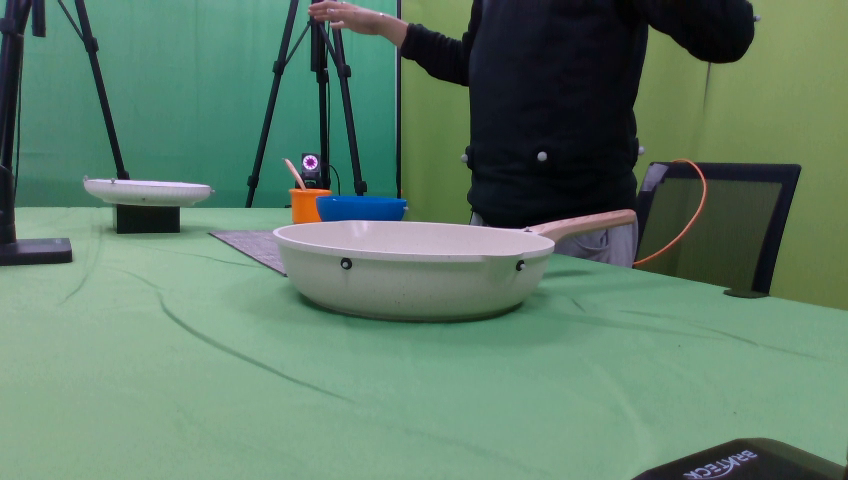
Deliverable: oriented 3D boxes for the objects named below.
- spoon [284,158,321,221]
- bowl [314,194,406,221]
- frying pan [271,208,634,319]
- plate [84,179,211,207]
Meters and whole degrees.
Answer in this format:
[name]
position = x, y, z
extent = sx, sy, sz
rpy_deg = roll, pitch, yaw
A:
[spoon]
position = -0.269, -0.113, 1.336
extent = 0.042, 0.193, 0.021
rpy_deg = -4, -35, -43
[bowl]
position = -0.105, -0.032, 0.991
extent = 0.151, 0.077, 0.151
rpy_deg = 3, 7, 0
[frying pan]
position = 0.076, 0.003, 0.695
extent = 0.490, 0.102, 0.305
rpy_deg = -12, 14, -30
[plate]
position = -0.495, -0.085, 1.093
extent = 0.208, 0.039, 0.207
rpy_deg = 4, 7, 0
